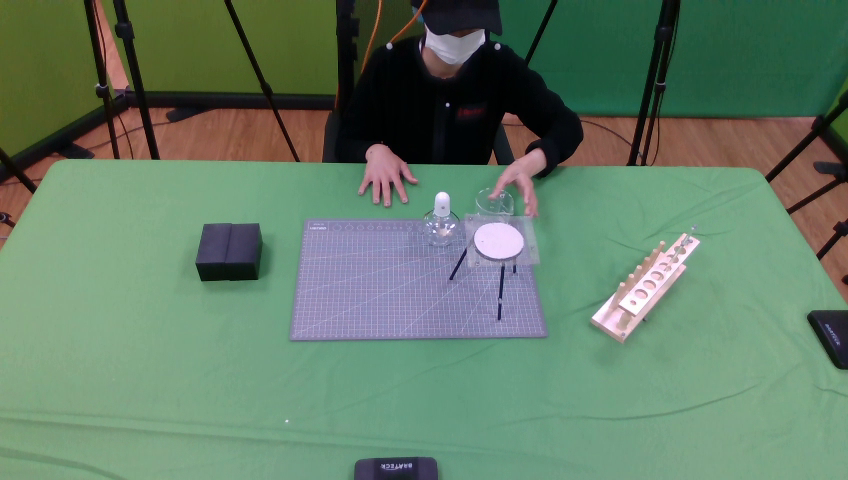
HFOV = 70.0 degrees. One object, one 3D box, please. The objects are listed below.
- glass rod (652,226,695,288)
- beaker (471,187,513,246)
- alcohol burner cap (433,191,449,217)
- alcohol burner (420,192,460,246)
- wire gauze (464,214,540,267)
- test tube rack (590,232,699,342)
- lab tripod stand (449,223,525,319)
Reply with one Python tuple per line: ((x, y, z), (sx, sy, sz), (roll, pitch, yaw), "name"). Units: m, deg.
((0.432, 0.037, 1.057), (0.008, 0.200, 0.008), (1, 54, -1), "glass rod")
((0.134, -0.042, 1.190), (0.083, 0.101, 0.074), (34, 53, 25), "beaker")
((0.033, -0.070, 1.150), (0.034, 0.048, 0.033), (0, 45, 0), "alcohol burner cap")
((0.032, -0.046, 1.176), (0.078, 0.120, 0.077), (2, 44, -1), "alcohol burner")
((0.131, -0.002, 1.034), (0.121, 0.011, 0.124), (1, 45, -2), "wire gauze")
((0.407, 0.074, 1.112), (0.066, 0.085, 0.242), (35, 53, 26), "test tube rack")
((0.120, 0.046, 1.080), (0.148, 0.132, 0.147), (1, 47, -1), "lab tripod stand")
